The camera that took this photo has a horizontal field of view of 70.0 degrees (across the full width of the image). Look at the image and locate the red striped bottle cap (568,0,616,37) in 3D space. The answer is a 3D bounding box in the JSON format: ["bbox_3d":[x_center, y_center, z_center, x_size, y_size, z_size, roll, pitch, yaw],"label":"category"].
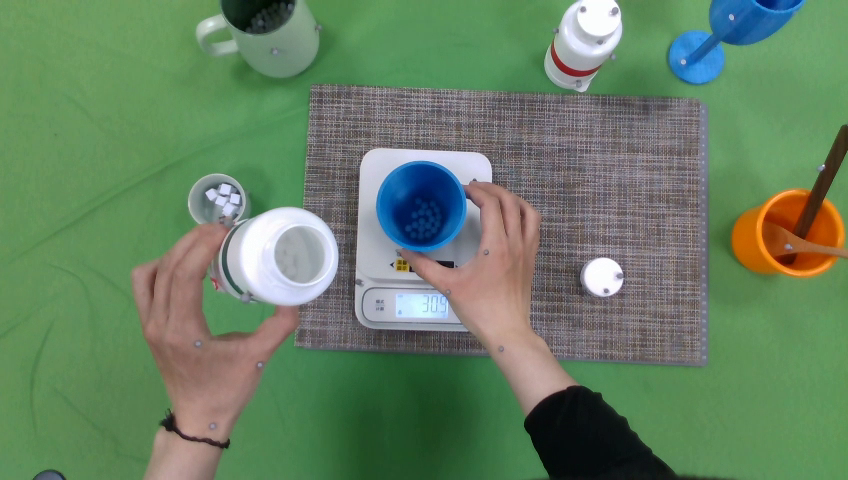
[{"bbox_3d":[0.165,-0.223,0.592,0.044,0.018,0.044,0,83,0],"label":"red striped bottle cap"}]

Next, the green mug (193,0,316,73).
[{"bbox_3d":[-0.185,-0.233,0.653,0.125,0.105,0.092,-20,85,-1],"label":"green mug"}]

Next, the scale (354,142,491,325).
[{"bbox_3d":[-0.002,-0.007,0.668,0.149,0.031,0.200,1,86,0],"label":"scale"}]

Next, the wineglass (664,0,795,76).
[{"bbox_3d":[0.311,-0.230,0.620,0.074,0.172,0.073,0,84,1],"label":"wineglass"}]

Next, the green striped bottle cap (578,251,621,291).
[{"bbox_3d":[0.196,0.034,0.674,0.044,0.020,0.044,0,82,2],"label":"green striped bottle cap"}]

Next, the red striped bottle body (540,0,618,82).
[{"bbox_3d":[0.165,-0.218,0.646,0.063,0.120,0.063,0,85,0],"label":"red striped bottle body"}]

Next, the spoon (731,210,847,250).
[{"bbox_3d":[0.413,0.003,0.614,0.022,0.192,0.041,14,93,-42],"label":"spoon"}]

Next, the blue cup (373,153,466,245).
[{"bbox_3d":[-0.004,-0.035,0.604,0.093,0.100,0.092,0,88,-1],"label":"blue cup"}]

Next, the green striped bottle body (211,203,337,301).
[{"bbox_3d":[-0.101,0.009,0.408,0.063,0.118,0.063,2,86,-30],"label":"green striped bottle body"}]

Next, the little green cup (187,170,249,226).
[{"bbox_3d":[-0.224,-0.044,0.670,0.061,0.038,0.061,0,85,-2],"label":"little green cup"}]

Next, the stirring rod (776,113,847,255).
[{"bbox_3d":[0.396,-0.050,0.618,0.014,0.178,0.006,10,44,15],"label":"stirring rod"}]
